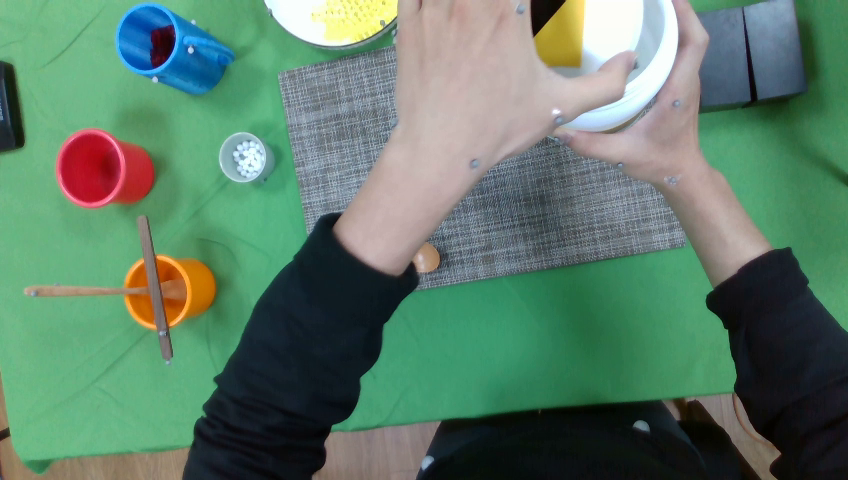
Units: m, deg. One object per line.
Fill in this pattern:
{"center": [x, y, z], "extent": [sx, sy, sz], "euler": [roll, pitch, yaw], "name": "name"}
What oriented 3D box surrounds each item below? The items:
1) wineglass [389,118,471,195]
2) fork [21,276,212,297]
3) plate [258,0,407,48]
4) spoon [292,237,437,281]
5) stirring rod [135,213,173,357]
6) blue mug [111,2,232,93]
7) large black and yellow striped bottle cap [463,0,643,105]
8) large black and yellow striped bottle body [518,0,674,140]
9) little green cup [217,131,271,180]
{"center": [0.011, -0.086, 0.656], "extent": [0.073, 0.172, 0.073], "euler": [0, 91, 10], "name": "wineglass"}
{"center": [-0.368, 0.059, 0.741], "extent": [0.209, 0.018, 0.028], "euler": [2, 100, -34], "name": "fork"}
{"center": [-0.107, -0.336, 0.737], "extent": [0.209, 0.038, 0.209], "euler": [0, 93, 9], "name": "plate"}
{"center": [-0.077, 0.029, 0.752], "extent": [0.193, 0.021, 0.042], "euler": [-11, 111, 10], "name": "spoon"}
{"center": [-0.326, 0.054, 0.731], "extent": [0.014, 0.006, 0.176], "euler": [-11, 91, 10], "name": "stirring rod"}
{"center": [-0.295, -0.231, 0.739], "extent": [0.116, 0.106, 0.082], "euler": [3, 92, 9], "name": "blue mug"}
{"center": [0.077, -0.143, 0.379], "extent": [0.114, 0.019, 0.116], "euler": [16, 120, 30], "name": "large black and yellow striped bottle cap"}
{"center": [0.133, -0.158, 0.508], "extent": [0.130, 0.184, 0.131], "euler": [1, 94, 13], "name": "large black and yellow striped bottle body"}
{"center": [-0.225, -0.105, 0.766], "extent": [0.061, 0.038, 0.061], "euler": [0, 93, 10], "name": "little green cup"}
